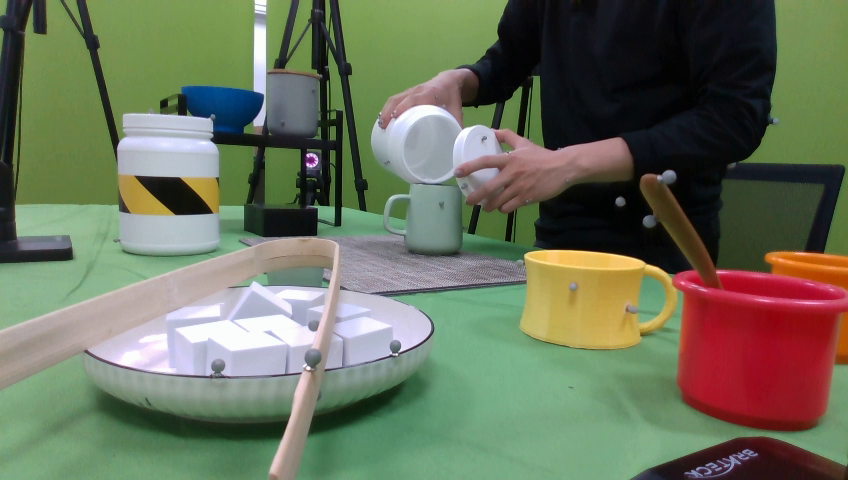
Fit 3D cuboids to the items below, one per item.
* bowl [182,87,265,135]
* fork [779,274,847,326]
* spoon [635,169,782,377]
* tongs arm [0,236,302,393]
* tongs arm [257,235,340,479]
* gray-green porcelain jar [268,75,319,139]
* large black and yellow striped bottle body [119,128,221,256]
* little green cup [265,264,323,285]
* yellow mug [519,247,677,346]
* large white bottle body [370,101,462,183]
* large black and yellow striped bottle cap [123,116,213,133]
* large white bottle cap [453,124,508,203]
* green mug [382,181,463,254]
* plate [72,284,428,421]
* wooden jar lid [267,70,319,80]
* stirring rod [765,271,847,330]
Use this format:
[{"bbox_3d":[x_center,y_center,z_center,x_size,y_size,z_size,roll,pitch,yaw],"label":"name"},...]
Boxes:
[{"bbox_3d":[-0.383,-0.243,1.158,0.151,0.077,0.151,2,7,0],"label":"bowl"},{"bbox_3d":[0.332,0.019,0.443,0.028,0.018,0.207,-3,-35,-16],"label":"fork"},{"bbox_3d":[0.161,0.026,0.346,0.021,0.194,0.041,-51,32,-19],"label":"spoon"},{"bbox_3d":[-0.157,0.038,0.347,0.028,0.028,0.388,-3,8,11],"label":"tongs arm"},{"bbox_3d":[-0.074,0.040,0.345,0.051,0.026,0.384,-1,10,-3],"label":"tongs arm"},{"bbox_3d":[-0.277,-0.279,1.280,0.106,0.126,0.106,2,8,0],"label":"gray-green porcelain jar"},{"bbox_3d":[-0.355,-0.076,0.850,0.131,0.184,0.130,2,8,0],"label":"large black and yellow striped bottle body"},{"bbox_3d":[-0.134,0.033,0.628,0.061,0.038,0.061,3,7,0],"label":"little green cup"},{"bbox_3d":[0.148,0.045,0.513,0.131,0.064,0.100,3,7,0],"label":"yellow mug"},{"bbox_3d":[-0.010,-0.165,1.017,0.131,0.130,0.184,0,14,-17],"label":"large white bottle body"},{"bbox_3d":[-0.353,-0.159,0.838,0.115,0.019,0.115,2,6,0],"label":"large black and yellow striped bottle cap"},{"bbox_3d":[0.083,-0.110,0.876,0.018,0.114,0.115,-6,0,41],"label":"large white bottle cap"},{"bbox_3d":[-0.001,-0.036,0.922,0.126,0.105,0.092,0,8,-16],"label":"green mug"},{"bbox_3d":[-0.102,0.067,0.381,0.208,0.039,0.207,3,7,0],"label":"plate"},{"bbox_3d":[-0.275,-0.339,1.271,0.108,0.020,0.108,5,6,0],"label":"wooden jar lid"},{"bbox_3d":[0.352,0.020,0.481,0.176,0.006,0.014,-40,-7,17],"label":"stirring rod"}]
